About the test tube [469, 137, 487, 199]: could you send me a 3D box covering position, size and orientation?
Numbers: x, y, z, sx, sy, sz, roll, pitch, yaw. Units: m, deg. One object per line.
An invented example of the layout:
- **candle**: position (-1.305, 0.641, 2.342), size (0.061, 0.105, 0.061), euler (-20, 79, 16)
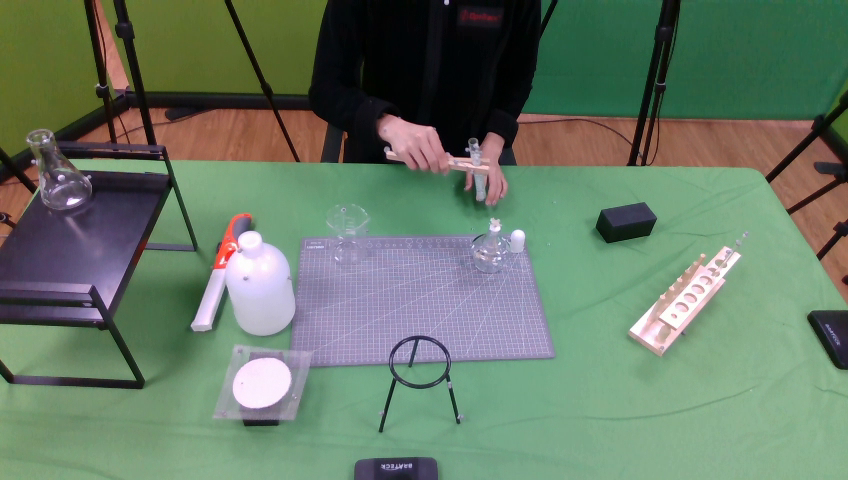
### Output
- **test tube**: position (0.093, -0.119, 1.029), size (0.017, 0.151, 0.017), euler (-6, 56, 9)

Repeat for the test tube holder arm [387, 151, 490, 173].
- **test tube holder arm**: position (0.023, -0.132, 1.027), size (0.178, 0.015, 0.013), euler (8, 55, 10)

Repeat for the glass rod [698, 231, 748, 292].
- **glass rod**: position (0.514, 0.044, 1.051), size (0.008, 0.200, 0.008), euler (1, 55, -1)

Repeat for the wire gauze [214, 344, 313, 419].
- **wire gauze**: position (-0.241, 0.213, 0.915), size (0.121, 0.011, 0.124), euler (5, 46, 1)

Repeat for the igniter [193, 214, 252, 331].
- **igniter**: position (-0.368, 0.050, 1.119), size (0.057, 0.025, 0.275), euler (-3, 46, 8)

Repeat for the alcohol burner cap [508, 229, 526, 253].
- **alcohol burner cap**: position (0.185, -0.002, 1.192), size (0.034, 0.048, 0.033), euler (3, 45, -2)

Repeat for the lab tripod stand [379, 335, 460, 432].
- **lab tripod stand**: position (-0.010, 0.214, 0.911), size (0.148, 0.132, 0.147), euler (1, 45, 0)

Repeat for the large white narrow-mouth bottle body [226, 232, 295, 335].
- **large white narrow-mouth bottle body**: position (-0.270, 0.065, 0.995), size (0.102, 0.195, 0.101), euler (2, 46, -2)

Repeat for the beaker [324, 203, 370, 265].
- **beaker**: position (-0.142, -0.009, 1.137), size (0.084, 0.101, 0.073), euler (-3, 47, -7)

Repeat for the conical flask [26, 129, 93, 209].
- **conical flask**: position (-0.575, -0.113, 0.946), size (0.075, 0.122, 0.075), euler (2, 46, -2)

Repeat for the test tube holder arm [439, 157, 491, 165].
- **test tube holder arm**: position (0.069, -0.132, 1.023), size (0.088, 0.015, 0.010), euler (2, 55, 6)

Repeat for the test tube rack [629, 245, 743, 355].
- **test tube rack**: position (0.474, 0.095, 1.091), size (0.242, 0.085, 0.066), euler (-34, 56, -31)

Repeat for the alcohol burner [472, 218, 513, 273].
- **alcohol burner**: position (0.128, 0.005, 1.132), size (0.078, 0.120, 0.077), euler (0, 47, 0)

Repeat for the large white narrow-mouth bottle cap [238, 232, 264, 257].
- **large white narrow-mouth bottle cap**: position (-0.266, 0.007, 0.933), size (0.038, 0.024, 0.037), euler (2, 46, -2)
